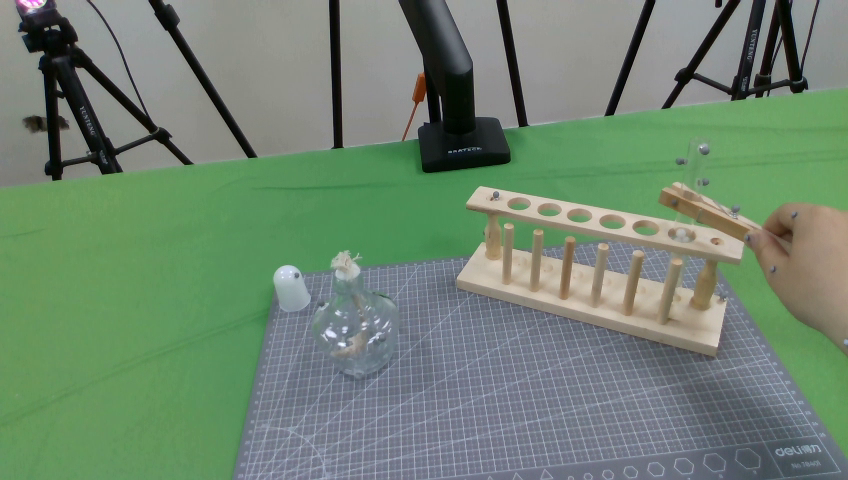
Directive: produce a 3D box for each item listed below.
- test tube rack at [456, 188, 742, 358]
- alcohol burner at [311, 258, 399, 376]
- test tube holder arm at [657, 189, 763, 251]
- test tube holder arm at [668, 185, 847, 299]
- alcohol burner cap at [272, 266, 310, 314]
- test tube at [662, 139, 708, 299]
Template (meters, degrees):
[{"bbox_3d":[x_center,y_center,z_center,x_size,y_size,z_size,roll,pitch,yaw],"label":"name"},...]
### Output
[{"bbox_3d":[0.150,0.024,0.560,0.241,0.086,0.066,13,42,24],"label":"test tube rack"},{"bbox_3d":[-0.062,0.061,0.521,0.078,0.120,0.077,-3,39,3],"label":"alcohol burner"},{"bbox_3d":[0.229,-0.017,0.487,0.010,0.015,0.087,-29,47,-33],"label":"test tube holder arm"},{"bbox_3d":[0.261,0.003,0.463,0.013,0.015,0.176,-23,44,-27],"label":"test tube holder arm"},{"bbox_3d":[-0.135,0.047,0.609,0.034,0.048,0.033,-3,38,3],"label":"alcohol burner cap"},{"bbox_3d":[0.220,-0.013,0.513,0.017,0.151,0.017,-3,30,2],"label":"test tube"}]
